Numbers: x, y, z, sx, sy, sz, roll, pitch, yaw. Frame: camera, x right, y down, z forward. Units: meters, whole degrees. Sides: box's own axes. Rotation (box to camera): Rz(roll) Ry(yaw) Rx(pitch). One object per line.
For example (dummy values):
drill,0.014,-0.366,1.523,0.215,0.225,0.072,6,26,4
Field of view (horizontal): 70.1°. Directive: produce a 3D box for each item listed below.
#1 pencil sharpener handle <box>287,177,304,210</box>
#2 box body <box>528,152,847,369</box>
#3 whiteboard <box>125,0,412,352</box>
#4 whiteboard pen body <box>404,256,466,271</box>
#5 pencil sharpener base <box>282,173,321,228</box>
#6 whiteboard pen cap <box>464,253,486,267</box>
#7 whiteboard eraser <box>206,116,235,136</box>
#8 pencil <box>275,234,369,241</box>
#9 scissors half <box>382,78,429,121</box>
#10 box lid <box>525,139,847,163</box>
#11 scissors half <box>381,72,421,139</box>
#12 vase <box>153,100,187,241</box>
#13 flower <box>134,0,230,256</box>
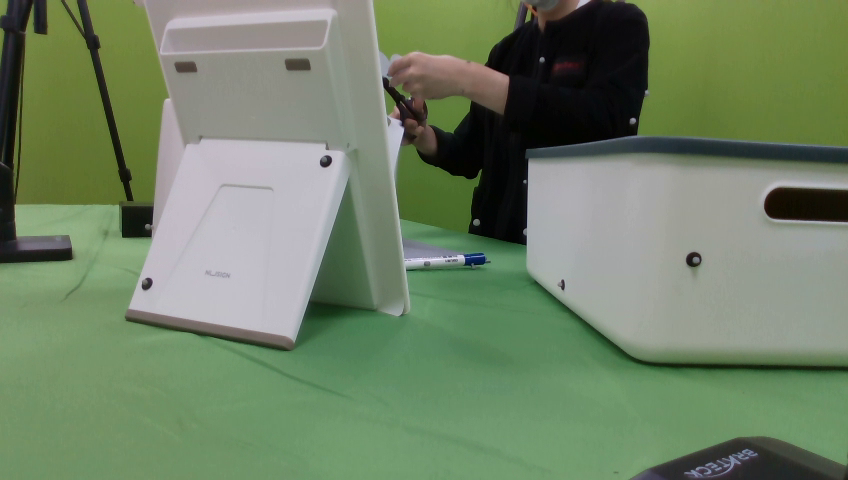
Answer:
pencil sharpener handle,-0.269,-0.096,1.257,0.036,0.067,0.030,-8,8,-27
box body,0.257,-0.005,0.591,0.254,0.160,0.363,2,7,-4
whiteboard,-0.151,-0.049,0.472,0.216,0.305,0.144,6,27,24
whiteboard pen body,0.013,0.030,0.792,0.141,0.017,0.017,-2,9,-24
pencil sharpener base,-0.247,-0.080,1.212,0.061,0.107,0.076,-2,5,-28
whiteboard pen cap,0.066,0.027,0.818,0.033,0.018,0.018,-5,10,-24
whiteboard eraser,-0.450,-0.252,1.335,0.056,0.042,0.112,1,7,-22
pencil,-0.169,-0.006,1.037,0.012,0.012,0.195,10,8,44
scissors half,-0.039,-0.256,1.061,0.013,0.040,0.176,12,-6,34
box lid,0.261,-0.078,0.580,0.264,0.015,0.371,2,7,-4
scissors half,-0.048,-0.237,1.057,0.012,0.040,0.176,18,-25,36
vase,-0.278,-0.066,0.736,0.098,0.200,0.098,2,9,0
flower,-0.282,-0.147,0.713,0.038,0.362,0.044,-23,24,-31
